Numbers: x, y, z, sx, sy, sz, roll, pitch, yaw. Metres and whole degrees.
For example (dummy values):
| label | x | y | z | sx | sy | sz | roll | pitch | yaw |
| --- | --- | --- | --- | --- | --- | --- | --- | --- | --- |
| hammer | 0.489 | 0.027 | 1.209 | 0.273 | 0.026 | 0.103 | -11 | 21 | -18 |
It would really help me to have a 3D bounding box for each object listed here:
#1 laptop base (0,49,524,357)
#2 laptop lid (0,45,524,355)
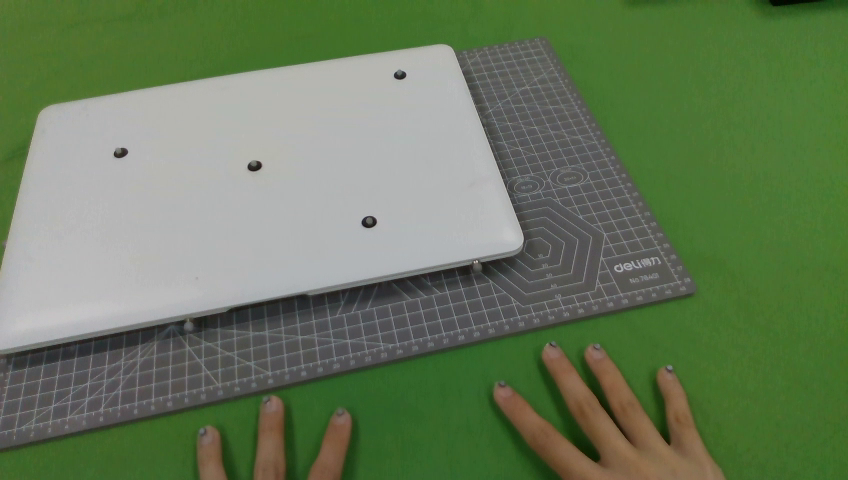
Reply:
| label | x | y | z | sx | sy | sz | roll | pitch | yaw |
| --- | --- | --- | --- | --- | --- | --- | --- | --- | --- |
| laptop base | -0.124 | -0.045 | 0.466 | 0.355 | 0.023 | 0.233 | -11 | 56 | -6 |
| laptop lid | -0.125 | -0.051 | 0.455 | 0.357 | 0.013 | 0.239 | -9 | 55 | -5 |
